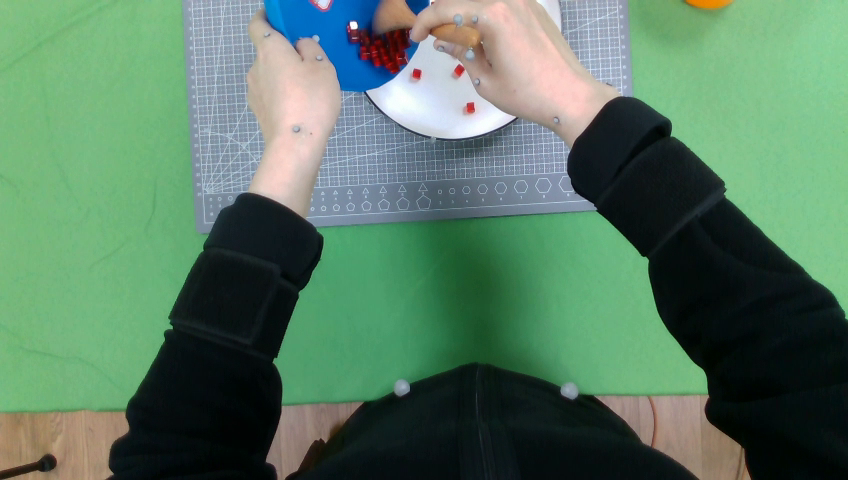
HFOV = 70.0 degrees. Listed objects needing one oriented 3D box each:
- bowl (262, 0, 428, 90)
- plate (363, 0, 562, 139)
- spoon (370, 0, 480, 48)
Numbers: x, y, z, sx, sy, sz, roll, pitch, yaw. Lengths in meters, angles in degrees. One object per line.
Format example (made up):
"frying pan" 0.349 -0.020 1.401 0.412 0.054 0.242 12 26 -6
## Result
"bowl" -0.077 -0.206 0.499 0.076 0.153 0.151 26 92 42
"plate" 0.029 -0.202 0.595 0.209 0.038 0.209 0 91 3
"spoon" -0.003 -0.164 0.455 0.022 0.191 0.041 22 103 -35
